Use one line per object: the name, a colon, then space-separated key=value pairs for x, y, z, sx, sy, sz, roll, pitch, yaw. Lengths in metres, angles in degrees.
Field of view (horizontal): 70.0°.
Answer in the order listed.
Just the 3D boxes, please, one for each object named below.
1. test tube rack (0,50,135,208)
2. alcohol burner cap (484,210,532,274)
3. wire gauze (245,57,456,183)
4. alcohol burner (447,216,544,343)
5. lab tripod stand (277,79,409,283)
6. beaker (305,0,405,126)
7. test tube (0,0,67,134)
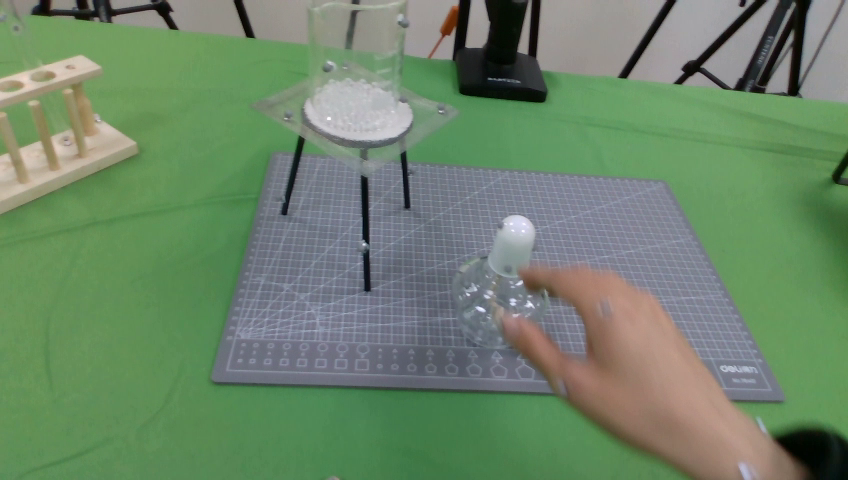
test tube rack: x=-0.390 y=-0.082 z=0.532 sx=0.066 sy=0.086 sz=0.242 roll=31 pitch=46 yaw=22
alcohol burner cap: x=0.064 y=-0.001 z=0.448 sx=0.034 sy=0.048 sz=0.033 roll=3 pitch=47 yaw=-3
wire gauze: x=-0.056 y=-0.105 z=0.482 sx=0.124 sy=0.011 sz=0.121 roll=34 pitch=50 yaw=19
alcohol burner: x=0.059 y=0.025 z=0.473 sx=0.078 sy=0.120 sz=0.077 roll=7 pitch=42 yaw=-5
lab tripod stand: x=-0.061 y=-0.058 z=0.526 sx=0.148 sy=0.132 sz=0.147 roll=7 pitch=43 yaw=-6
beaker: x=-0.054 y=-0.142 z=0.449 sx=0.073 sy=0.101 sz=0.084 roll=32 pitch=48 yaw=22
test tube: x=-0.358 y=-0.160 z=0.550 sx=0.017 sy=0.151 sz=0.017 roll=2 pitch=45 yaw=-2
